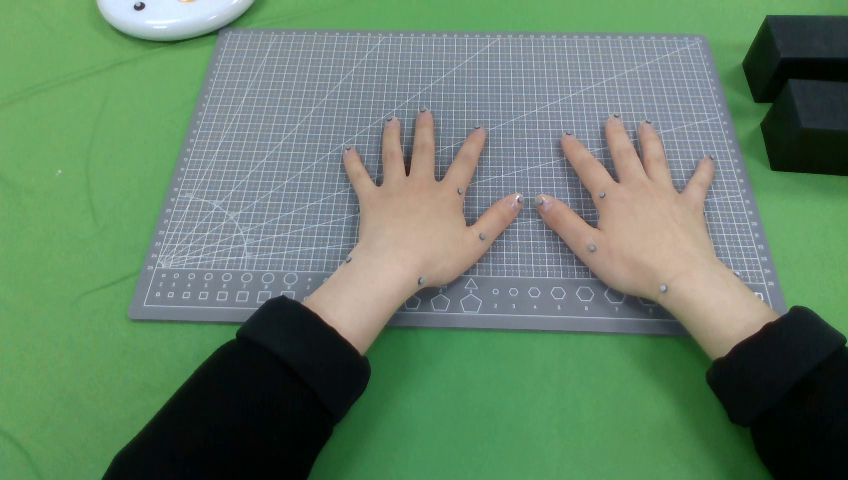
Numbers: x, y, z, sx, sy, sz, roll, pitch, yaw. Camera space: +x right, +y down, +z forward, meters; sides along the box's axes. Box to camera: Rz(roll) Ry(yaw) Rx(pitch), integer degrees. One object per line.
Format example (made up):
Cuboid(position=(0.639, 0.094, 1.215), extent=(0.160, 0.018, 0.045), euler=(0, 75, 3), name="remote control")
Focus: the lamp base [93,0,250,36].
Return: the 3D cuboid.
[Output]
Cuboid(position=(-0.250, -0.304, 0.532), extent=(0.160, 0.182, 0.177), euler=(-36, 62, -19), name="lamp base")
